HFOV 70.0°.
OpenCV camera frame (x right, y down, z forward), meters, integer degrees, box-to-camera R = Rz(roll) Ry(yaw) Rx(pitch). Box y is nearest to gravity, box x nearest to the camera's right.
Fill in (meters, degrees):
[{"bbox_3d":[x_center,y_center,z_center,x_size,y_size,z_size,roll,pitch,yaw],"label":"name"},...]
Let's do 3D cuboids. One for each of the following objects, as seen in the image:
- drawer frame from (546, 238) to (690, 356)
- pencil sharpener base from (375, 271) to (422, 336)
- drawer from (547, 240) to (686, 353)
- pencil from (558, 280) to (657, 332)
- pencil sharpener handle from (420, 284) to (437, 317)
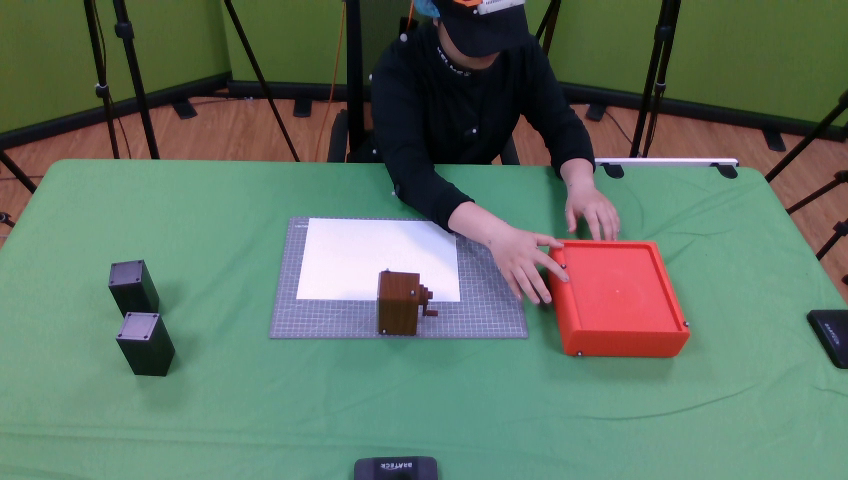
[{"bbox_3d":[0.337,0.098,1.084,0.202,0.083,0.212,1,46,-4],"label":"drawer frame"},{"bbox_3d":[-0.042,0.109,1.025,0.077,0.107,0.061,3,45,-2],"label":"pencil sharpener base"},{"bbox_3d":[0.336,0.097,1.086,0.194,0.073,0.210,2,46,-3],"label":"drawer"},{"bbox_3d":[0.334,0.121,1.105,0.193,0.012,0.012,27,49,14],"label":"pencil"},{"bbox_3d":[0.009,0.104,1.016,0.030,0.068,0.036,3,39,-2],"label":"pencil sharpener handle"}]
